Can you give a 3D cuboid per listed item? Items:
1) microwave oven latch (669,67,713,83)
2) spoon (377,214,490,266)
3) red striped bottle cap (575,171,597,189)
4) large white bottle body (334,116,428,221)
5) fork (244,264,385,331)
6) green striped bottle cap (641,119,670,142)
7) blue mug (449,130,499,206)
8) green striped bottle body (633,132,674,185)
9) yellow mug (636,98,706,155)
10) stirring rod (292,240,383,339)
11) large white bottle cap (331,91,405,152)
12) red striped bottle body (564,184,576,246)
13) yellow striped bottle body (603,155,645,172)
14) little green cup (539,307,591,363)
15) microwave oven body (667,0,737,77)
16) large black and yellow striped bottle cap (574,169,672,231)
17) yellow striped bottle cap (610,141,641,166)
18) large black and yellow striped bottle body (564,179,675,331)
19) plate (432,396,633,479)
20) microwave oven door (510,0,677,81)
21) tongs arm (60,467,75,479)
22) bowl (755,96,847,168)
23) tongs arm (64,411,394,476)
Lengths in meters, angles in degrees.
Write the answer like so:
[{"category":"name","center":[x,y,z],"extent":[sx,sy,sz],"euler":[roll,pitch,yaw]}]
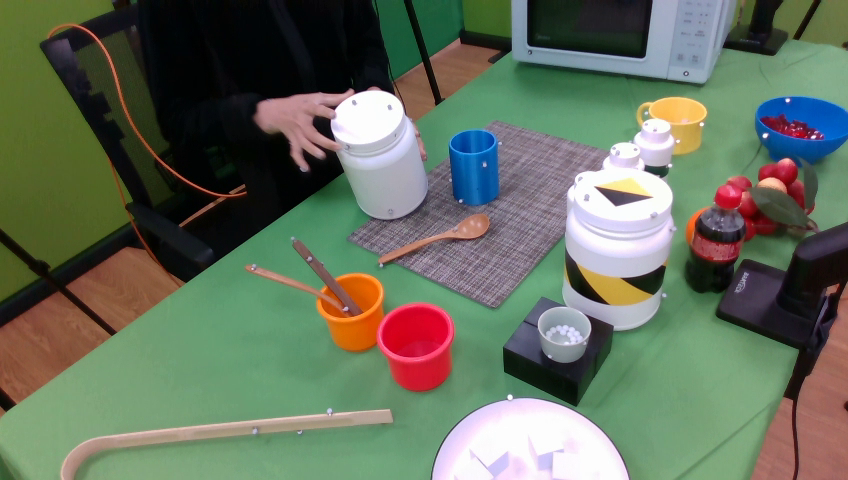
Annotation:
[{"category":"microwave oven latch","center":[0.556,-0.349,1.261],"extent":[0.078,0.029,0.030],"euler":[16,46,27]},{"category":"spoon","center":[0.015,0.002,0.966],"extent":[0.194,0.022,0.041],"euler":[-18,63,-12]},{"category":"red striped bottle cap","center":[0.242,-0.081,0.876],"extent":[0.044,0.018,0.044],"euler":[-5,44,5]},{"category":"large white bottle body","center":[-0.071,-0.134,0.995],"extent":[0.130,0.185,0.130],"euler":[-5,55,8]},{"category":"fork","center":[-0.142,0.078,0.806],"extent":[0.209,0.018,0.028],"euler":[30,33,-23]},{"category":"green striped bottle cap","center":[0.371,-0.175,0.968],"extent":[0.044,0.020,0.044],"euler":[-4,42,4]},{"category":"blue mug","center":[0.091,-0.134,1.052],"extent":[0.082,0.106,0.116],"euler":[4,41,13]},{"category":"green striped bottle body","center":[0.376,-0.135,1.001],"extent":[0.063,0.120,0.063],"euler":[-5,40,5]},{"category":"yellow mug","center":[0.453,-0.217,1.128],"extent":[0.100,0.064,0.129],"euler":[-34,46,-27]},{"category":"stirring rod","center":[-0.118,0.068,0.826],"extent":[0.176,0.006,0.014],"euler":[48,59,-4]},{"category":"large white bottle cap","center":[-0.086,-0.182,0.924],"extent":[0.114,0.018,0.114],"euler":[-5,56,8]},{"category":"red striped bottle body","center":[0.247,-0.041,0.910],"extent":[0.063,0.120,0.062],"euler":[-3,39,3]},{"category":"yellow striped bottle body","center":[0.314,-0.090,0.958],"extent":[0.063,0.121,0.062],"euler":[-4,40,4]},{"category":"little green cup","center":[0.167,0.114,0.721],"extent":[0.061,0.039,0.061],"euler":[-4,43,4]},{"category":"microwave oven body","center":[0.462,-0.552,1.369],"extent":[0.439,0.261,0.326],"euler":[15,45,26]},{"category":"large black and yellow striped bottle cap","center":[0.242,-0.051,0.738],"extent":[0.115,0.019,0.114],"euler":[-4,37,3]},{"category":"yellow striped bottle cap","center":[0.308,-0.131,0.925],"extent":[0.044,0.019,0.044],"euler":[-4,46,4]},{"category":"large black and yellow striped bottle body","center":[0.253,0.014,0.793],"extent":[0.131,0.185,0.130],"euler":[-5,40,4]},{"category":"plate","center":[0.112,0.261,0.634],"extent":[0.209,0.038,0.208],"euler":[-5,40,4]},{"category":"microwave oven door","center":[0.354,-0.478,1.290],"extent":[0.353,0.245,0.039],"euler":[15,45,25]},{"category":"tongs arm","center":[-0.239,0.301,0.649],"extent":[0.386,0.028,0.028],"euler":[6,49,16]},{"category":"bowl","center":[0.645,-0.177,1.041],"extent":[0.151,0.077,0.150],"euler":[-5,40,4]},{"category":"tongs arm","center":[-0.228,0.241,0.715],"extent":[0.385,0.026,0.050],"euler":[-5,44,5]}]
